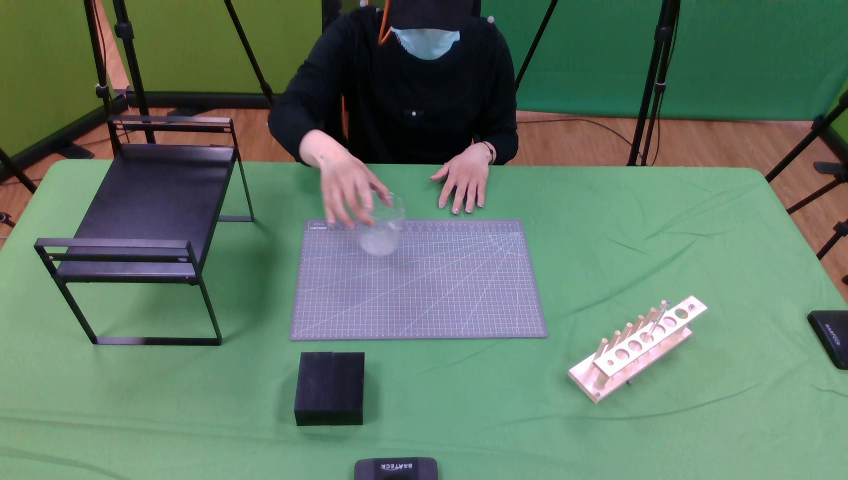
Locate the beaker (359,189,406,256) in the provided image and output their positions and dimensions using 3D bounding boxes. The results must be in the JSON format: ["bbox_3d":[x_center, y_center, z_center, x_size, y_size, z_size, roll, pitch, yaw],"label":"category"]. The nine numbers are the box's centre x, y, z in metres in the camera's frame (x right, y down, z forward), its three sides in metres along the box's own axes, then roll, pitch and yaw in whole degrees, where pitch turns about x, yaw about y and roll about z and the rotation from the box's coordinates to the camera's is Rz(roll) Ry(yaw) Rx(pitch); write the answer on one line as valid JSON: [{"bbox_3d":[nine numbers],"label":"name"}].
[{"bbox_3d":[-0.073,-0.027,1.058,0.084,0.101,0.074,26,48,15],"label":"beaker"}]

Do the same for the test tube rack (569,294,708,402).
[{"bbox_3d":[0.360,0.167,1.014,0.242,0.085,0.066,-25,53,-25],"label":"test tube rack"}]

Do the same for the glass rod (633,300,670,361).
[{"bbox_3d":[0.351,0.144,0.944,0.008,0.201,0.008,-1,55,1],"label":"glass rod"}]
